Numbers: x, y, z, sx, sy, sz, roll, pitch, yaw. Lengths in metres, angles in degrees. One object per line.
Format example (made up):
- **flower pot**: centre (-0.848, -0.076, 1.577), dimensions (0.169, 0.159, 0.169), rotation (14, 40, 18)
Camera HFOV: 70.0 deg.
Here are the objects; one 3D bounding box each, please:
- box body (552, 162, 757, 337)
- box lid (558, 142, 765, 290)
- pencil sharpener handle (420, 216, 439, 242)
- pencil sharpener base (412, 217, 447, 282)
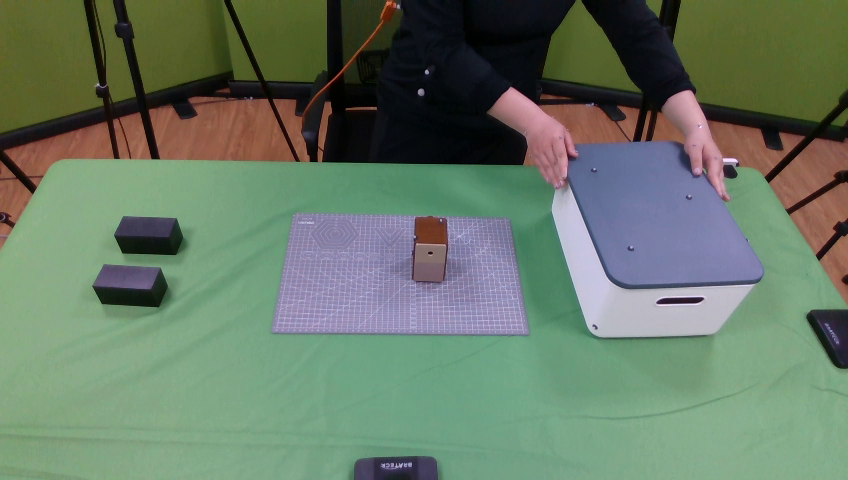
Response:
- **box body**: centre (0.400, -0.001, 1.131), dimensions (0.254, 0.161, 0.361), rotation (-1, 46, -5)
- **box lid**: centre (0.403, -0.057, 1.072), dimensions (0.263, 0.015, 0.369), rotation (-2, 45, -5)
- **pencil sharpener handle**: centre (0.008, -0.027, 1.145), dimensions (0.036, 0.068, 0.030), rotation (6, 45, -6)
- **pencil sharpener base**: centre (0.009, 0.017, 1.118), dimensions (0.061, 0.107, 0.076), rotation (1, 45, -2)
